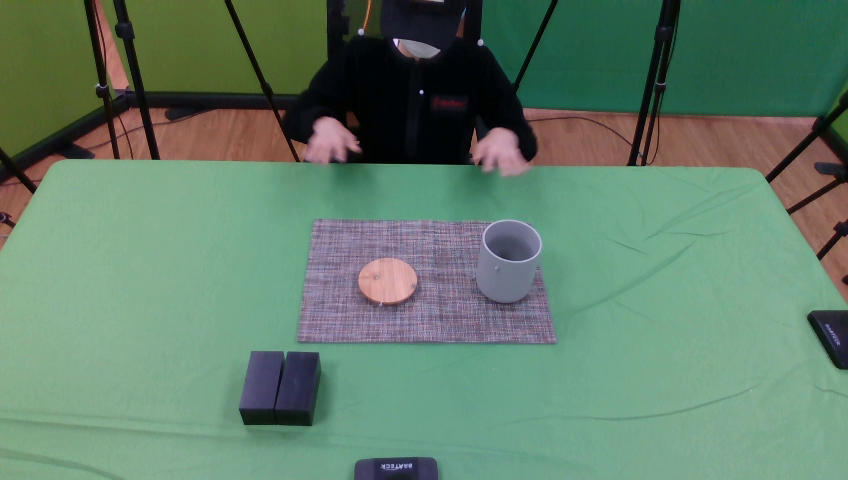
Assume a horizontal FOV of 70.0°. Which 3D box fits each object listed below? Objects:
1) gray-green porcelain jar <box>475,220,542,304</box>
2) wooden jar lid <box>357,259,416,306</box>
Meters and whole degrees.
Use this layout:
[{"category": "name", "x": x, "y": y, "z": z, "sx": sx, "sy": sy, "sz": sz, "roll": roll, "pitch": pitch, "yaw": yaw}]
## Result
[{"category": "gray-green porcelain jar", "x": 0.148, "y": 0.044, "z": 1.090, "sx": 0.106, "sy": 0.127, "sz": 0.105, "roll": 2, "pitch": 46, "yaw": -2}, {"category": "wooden jar lid", "x": -0.069, "y": 0.079, "z": 1.113, "sx": 0.108, "sy": 0.021, "sz": 0.107, "roll": 3, "pitch": 47, "yaw": -3}]
